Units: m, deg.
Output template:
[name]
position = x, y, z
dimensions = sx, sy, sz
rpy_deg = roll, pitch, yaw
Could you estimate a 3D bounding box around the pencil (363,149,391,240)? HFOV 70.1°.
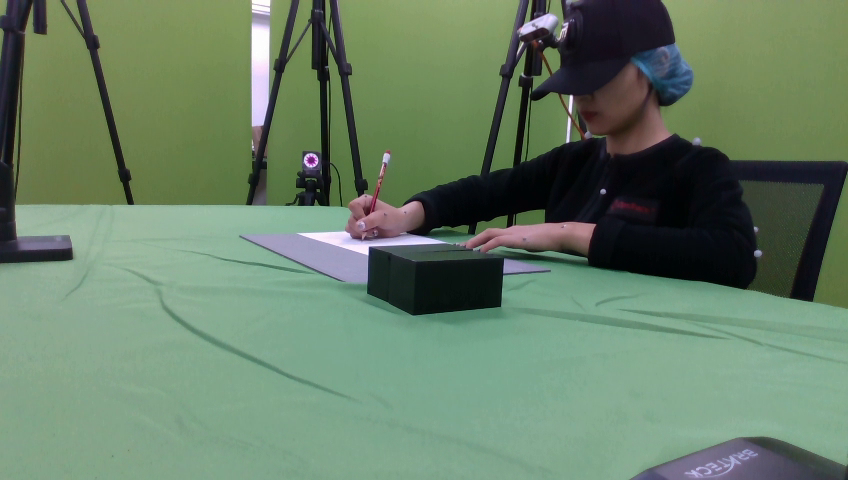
[pencil]
position = -0.082, -0.082, 1.049
dimensions = 0.012, 0.194, 0.012
rpy_deg = 10, -30, 6
